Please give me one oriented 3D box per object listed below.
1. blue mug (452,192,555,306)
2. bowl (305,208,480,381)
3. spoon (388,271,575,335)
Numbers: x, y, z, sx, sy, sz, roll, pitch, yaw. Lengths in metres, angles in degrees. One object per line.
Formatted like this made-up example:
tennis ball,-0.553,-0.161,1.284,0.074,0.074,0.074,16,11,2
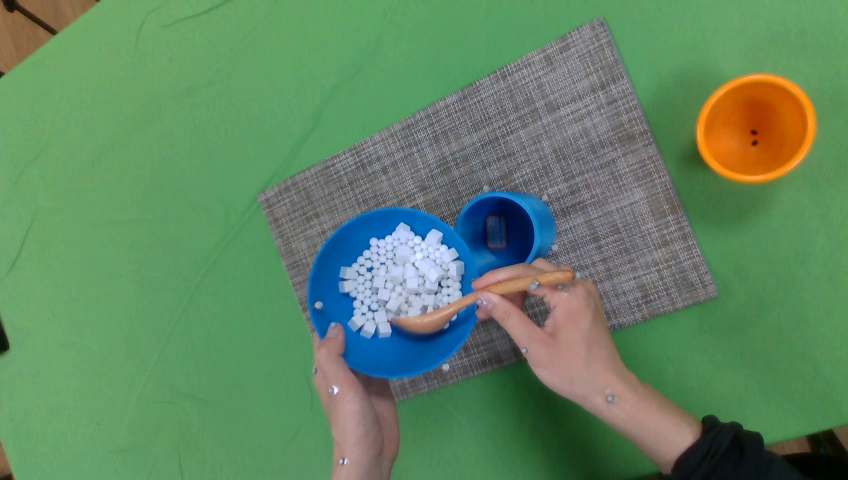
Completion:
blue mug,0.078,0.010,0.607,0.082,0.106,0.117,17,100,18
bowl,-0.027,0.054,0.552,0.151,0.077,0.150,0,76,-1
spoon,0.039,0.051,0.491,0.193,0.042,0.021,-27,51,41
